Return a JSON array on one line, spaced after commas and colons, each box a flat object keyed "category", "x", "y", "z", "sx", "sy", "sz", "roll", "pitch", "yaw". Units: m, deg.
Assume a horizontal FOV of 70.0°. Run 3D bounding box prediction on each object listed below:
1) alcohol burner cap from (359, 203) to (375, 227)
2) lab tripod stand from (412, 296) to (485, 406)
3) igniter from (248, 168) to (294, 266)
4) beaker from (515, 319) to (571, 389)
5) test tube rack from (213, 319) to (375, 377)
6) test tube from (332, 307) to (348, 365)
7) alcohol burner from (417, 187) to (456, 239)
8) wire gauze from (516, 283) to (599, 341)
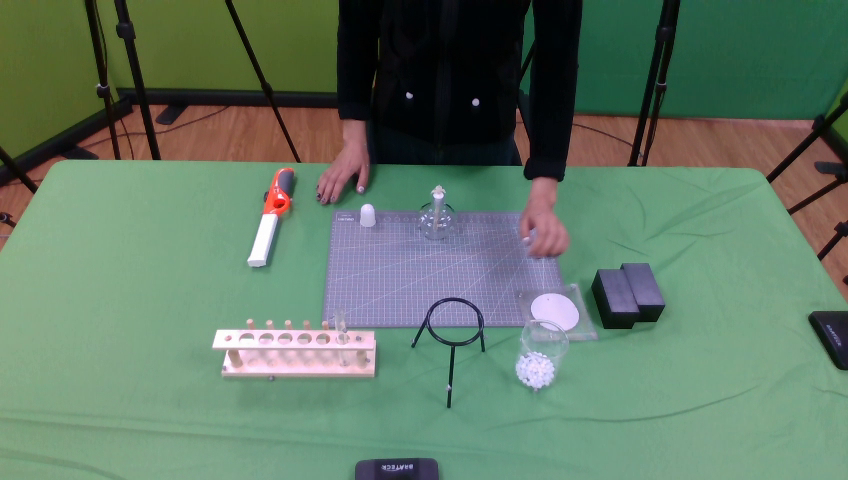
[{"category": "alcohol burner cap", "x": -0.115, "y": -0.053, "z": 1.224, "sx": 0.034, "sy": 0.048, "sz": 0.033, "roll": 2, "pitch": 47, "yaw": -2}, {"category": "lab tripod stand", "x": 0.045, "y": 0.168, "z": 0.963, "sx": 0.148, "sy": 0.132, "sz": 0.147, "roll": 3, "pitch": 47, "yaw": -3}, {"category": "igniter", "x": -0.307, "y": -0.055, "z": 1.225, "sx": 0.057, "sy": 0.025, "sz": 0.275, "roll": -2, "pitch": 46, "yaw": 5}, {"category": "beaker", "x": 0.186, "y": 0.186, "z": 0.980, "sx": 0.074, "sy": 0.101, "sz": 0.083, "roll": -23, "pitch": 51, "yaw": -24}, {"category": "test tube rack", "x": -0.202, "y": 0.170, "z": 0.977, "sx": 0.242, "sy": 0.085, "sz": 0.066, "roll": 1, "pitch": 46, "yaw": -3}, {"category": "test tube", "x": -0.128, "y": 0.151, "z": 0.931, "sx": 0.017, "sy": 0.151, "sz": 0.017, "roll": 1, "pitch": 50, "yaw": -1}, {"category": "alcohol burner", "x": 0.025, "y": -0.059, "z": 1.189, "sx": 0.078, "sy": 0.120, "sz": 0.077, "roll": 1, "pitch": 48, "yaw": -1}, {"category": "wire gauze", "x": 0.240, "y": 0.131, "z": 1.094, "sx": 0.125, "sy": 0.011, "sz": 0.120, "roll": -3, "pitch": 47, "yaw": -8}]
